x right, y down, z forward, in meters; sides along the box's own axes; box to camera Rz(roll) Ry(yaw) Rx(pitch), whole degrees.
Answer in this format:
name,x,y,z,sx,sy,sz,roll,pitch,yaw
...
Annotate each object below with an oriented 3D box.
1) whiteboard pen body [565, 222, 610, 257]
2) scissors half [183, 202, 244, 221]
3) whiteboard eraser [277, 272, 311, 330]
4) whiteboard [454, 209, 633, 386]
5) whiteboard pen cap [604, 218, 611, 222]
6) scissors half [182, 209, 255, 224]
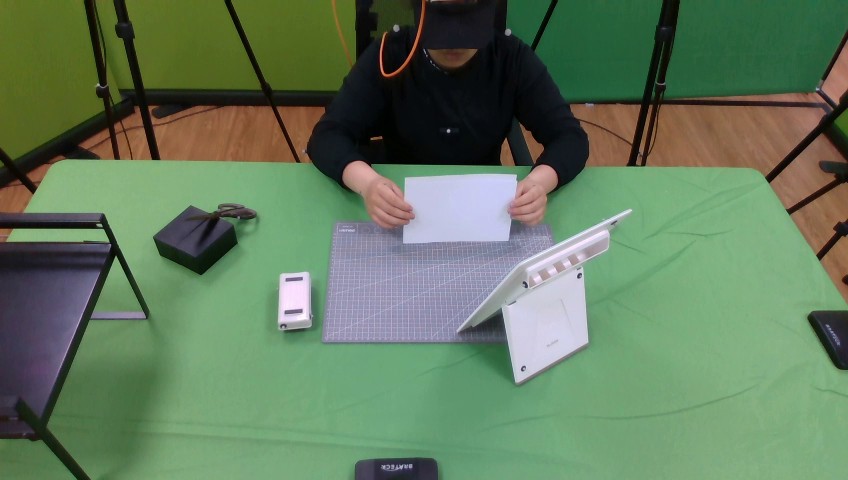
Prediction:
name,x,y,z,sx,sy,sz,roll,pitch,yaw
whiteboard pen body,0.335,-0.004,1.228,0.141,0.017,0.017,-32,56,-29
scissors half,-0.405,-0.053,1.163,0.040,0.013,0.175,26,18,8
whiteboard eraser,-0.228,0.108,1.062,0.056,0.042,0.112,-3,46,-10
whiteboard,0.211,0.111,0.954,0.217,0.306,0.143,-22,72,-24
whiteboard pen cap,0.378,-0.031,1.255,0.033,0.018,0.018,-33,57,-29
scissors half,-0.389,-0.043,1.158,0.040,0.013,0.175,38,21,23
